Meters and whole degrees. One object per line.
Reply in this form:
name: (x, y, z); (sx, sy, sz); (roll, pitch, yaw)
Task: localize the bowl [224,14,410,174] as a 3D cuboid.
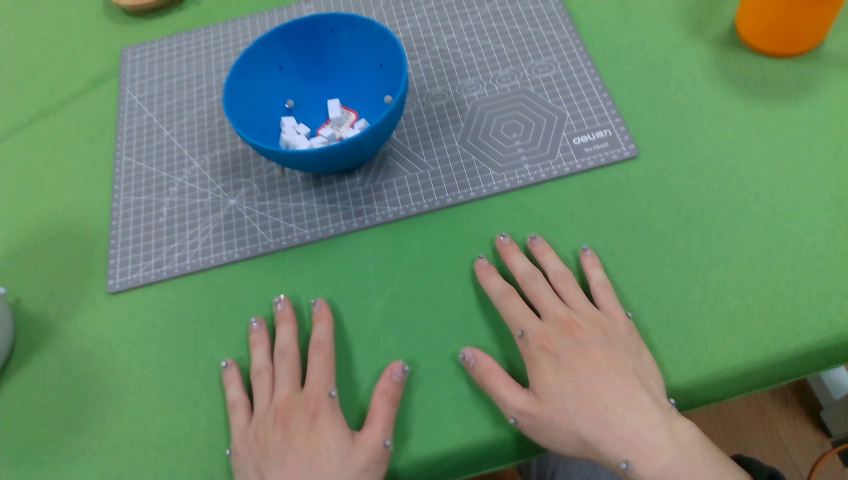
bowl: (-0.081, -0.109, 0.512); (0.151, 0.077, 0.150); (-4, 60, 7)

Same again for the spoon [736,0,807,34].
spoon: (0.345, -0.232, 0.482); (0.022, 0.194, 0.041); (16, 54, -34)

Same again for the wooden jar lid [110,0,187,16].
wooden jar lid: (-0.306, -0.294, 0.691); (0.108, 0.021, 0.107); (-3, 60, 5)

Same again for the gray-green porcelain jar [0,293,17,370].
gray-green porcelain jar: (-0.377, 0.060, 0.434); (0.106, 0.127, 0.105); (-4, 59, 7)
